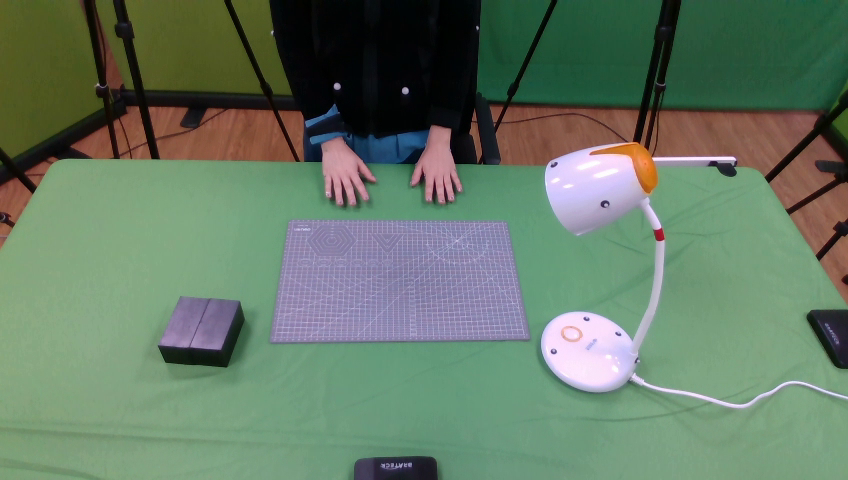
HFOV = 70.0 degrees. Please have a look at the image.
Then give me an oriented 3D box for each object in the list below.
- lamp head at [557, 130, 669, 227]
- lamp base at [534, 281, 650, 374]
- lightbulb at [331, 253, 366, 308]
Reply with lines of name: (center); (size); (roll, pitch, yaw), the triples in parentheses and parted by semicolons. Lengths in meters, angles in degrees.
lamp head: (0.251, -0.085, 0.784); (0.123, 0.113, 0.112); (-20, 38, 29)
lamp base: (0.287, 0.113, 1.000); (0.179, 0.181, 0.160); (12, 47, 5)
lightbulb: (-0.131, 0.074, 1.094); (0.059, 0.060, 0.107); (-15, 65, -18)
